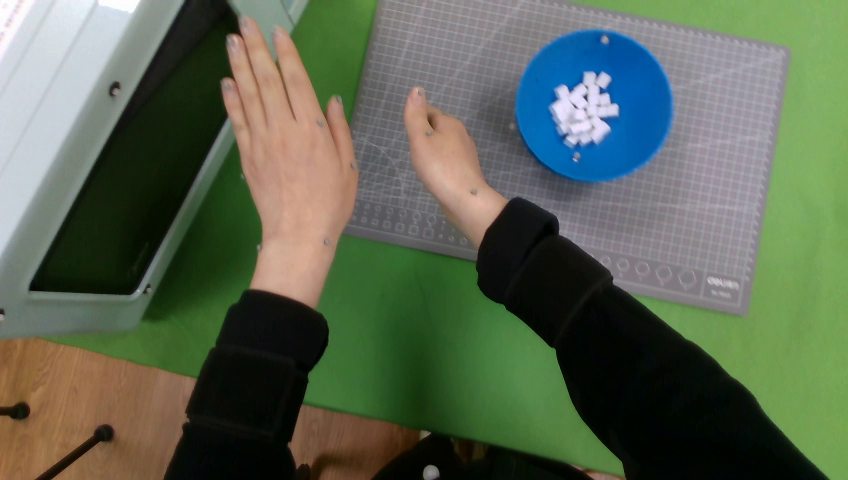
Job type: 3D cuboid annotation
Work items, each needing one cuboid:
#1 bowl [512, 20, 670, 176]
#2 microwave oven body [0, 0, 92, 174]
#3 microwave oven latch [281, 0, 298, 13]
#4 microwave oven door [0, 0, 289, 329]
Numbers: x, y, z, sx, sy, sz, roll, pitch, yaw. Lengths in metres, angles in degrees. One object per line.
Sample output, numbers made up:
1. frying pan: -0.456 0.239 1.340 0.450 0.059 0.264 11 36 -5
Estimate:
1. bowl: 0.159 -0.132 0.612 0.151 0.077 0.151 0 85 0
2. microwave oven body: -0.345 -0.194 0.525 0.326 0.260 0.441 26 86 2
3. microwave oven latch: -0.134 -0.280 0.629 0.030 0.029 0.079 27 87 2
4. microwave oven door: -0.234 -0.094 0.512 0.039 0.244 0.355 25 85 3
